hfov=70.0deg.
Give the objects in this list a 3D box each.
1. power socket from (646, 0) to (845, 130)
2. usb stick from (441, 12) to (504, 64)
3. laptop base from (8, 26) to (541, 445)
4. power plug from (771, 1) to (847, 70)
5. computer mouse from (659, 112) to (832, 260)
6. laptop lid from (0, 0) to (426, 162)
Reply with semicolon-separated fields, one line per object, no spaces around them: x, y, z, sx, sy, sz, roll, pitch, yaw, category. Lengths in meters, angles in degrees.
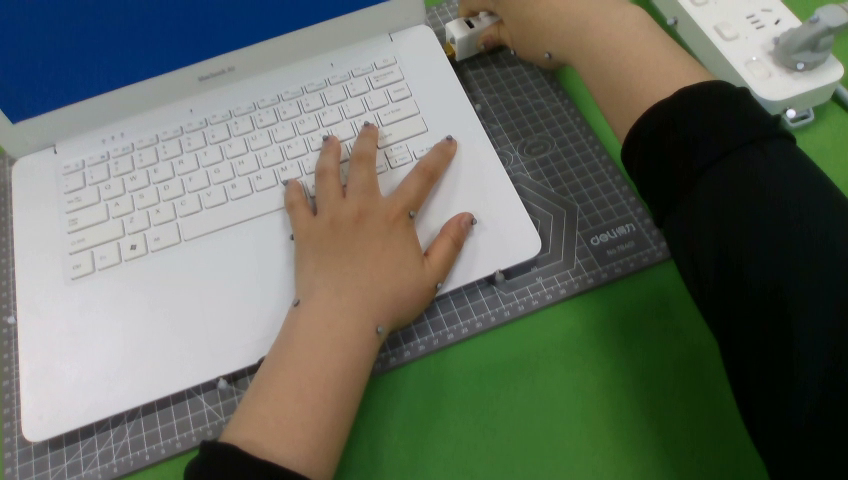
0.239;-0.181;0.485;0.072;0.033;0.224;-20;61;-4;power socket
0.035;-0.163;0.496;0.059;0.027;0.021;-24;64;-12;usb stick
-0.121;-0.023;0.446;0.354;0.023;0.233;-20;65;-5;laptop base
0.288;-0.141;0.434;0.072;0.053;0.035;-10;63;0;power plug
0.214;-0.043;0.409;0.063;0.041;0.116;-22;57;-4;computer mouse
-0.182;-0.194;0.413;0.357;0.244;0.013;-21;48;-4;laptop lid
